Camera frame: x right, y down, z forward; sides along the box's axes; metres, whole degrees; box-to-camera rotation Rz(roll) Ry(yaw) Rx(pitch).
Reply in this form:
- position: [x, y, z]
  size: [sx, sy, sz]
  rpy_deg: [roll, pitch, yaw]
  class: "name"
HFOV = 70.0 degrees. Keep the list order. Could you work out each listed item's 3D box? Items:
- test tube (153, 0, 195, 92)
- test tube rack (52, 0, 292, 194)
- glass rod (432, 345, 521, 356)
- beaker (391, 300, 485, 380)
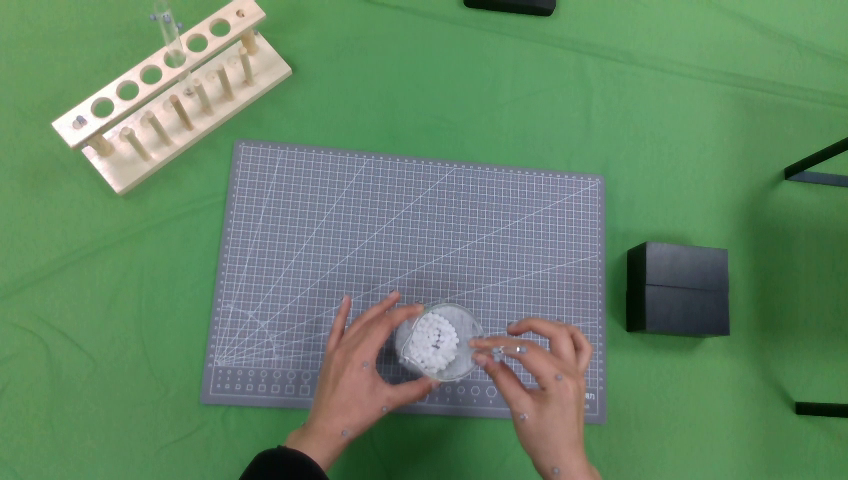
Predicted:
- position: [-0.255, -0.196, 0.626]
  size: [0.017, 0.150, 0.017]
  rpy_deg: [3, 74, -11]
  class: "test tube"
- position: [-0.265, -0.160, 0.668]
  size: [0.242, 0.085, 0.066]
  rpy_deg: [-40, 85, -13]
  class: "test tube rack"
- position: [0.041, 0.103, 0.560]
  size: [0.008, 0.199, 0.008]
  rpy_deg: [4, 78, -18]
  class: "glass rod"
- position: [0.007, 0.104, 0.614]
  size: [0.084, 0.100, 0.074]
  rpy_deg: [-13, 83, -16]
  class: "beaker"
